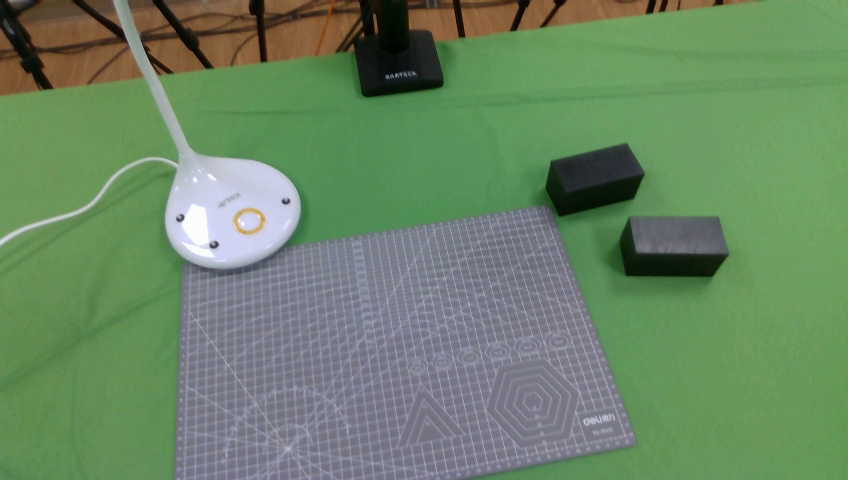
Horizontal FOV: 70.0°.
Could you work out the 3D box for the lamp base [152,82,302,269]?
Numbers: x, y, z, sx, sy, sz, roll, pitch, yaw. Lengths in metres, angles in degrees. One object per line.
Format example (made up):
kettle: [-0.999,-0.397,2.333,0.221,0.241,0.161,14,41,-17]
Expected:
lamp base: [-0.243,-0.082,0.687,0.178,0.182,0.160,30,61,23]

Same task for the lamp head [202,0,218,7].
lamp head: [-0.177,-0.260,0.466,0.124,0.112,0.111,37,56,-24]
